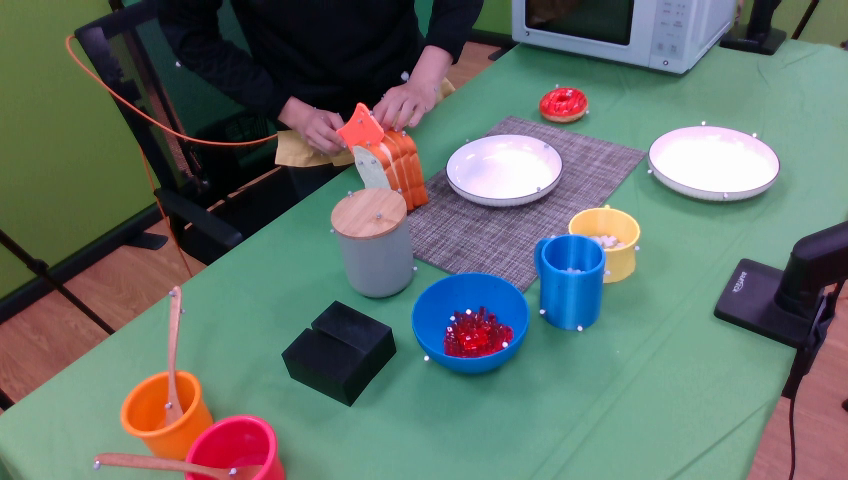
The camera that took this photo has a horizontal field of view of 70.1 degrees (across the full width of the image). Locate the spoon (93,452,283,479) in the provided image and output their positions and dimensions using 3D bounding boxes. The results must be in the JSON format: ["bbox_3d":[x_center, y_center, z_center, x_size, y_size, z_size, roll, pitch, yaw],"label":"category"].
[{"bbox_3d":[-0.240,0.239,0.632,0.195,0.021,0.041,26,33,-32],"label":"spoon"}]

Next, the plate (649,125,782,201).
[{"bbox_3d":[0.493,-0.127,1.036,0.207,0.039,0.206,-4,41,4],"label":"plate"}]

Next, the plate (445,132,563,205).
[{"bbox_3d":[0.142,-0.124,1.076,0.209,0.038,0.208,-4,41,4],"label":"plate"}]

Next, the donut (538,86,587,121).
[{"bbox_3d":[0.283,-0.280,1.239,0.099,0.048,0.098,-5,42,5],"label":"donut"}]

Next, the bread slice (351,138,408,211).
[{"bbox_3d":[-0.081,-0.113,1.028,0.019,0.132,0.104,-40,45,-22],"label":"bread slice"}]

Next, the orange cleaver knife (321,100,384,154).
[{"bbox_3d":[-0.126,-0.180,1.044,0.012,0.077,0.210,-35,10,-28],"label":"orange cleaver knife"}]

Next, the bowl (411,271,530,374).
[{"bbox_3d":[0.061,0.120,0.780,0.151,0.077,0.150,-4,40,4],"label":"bowl"}]

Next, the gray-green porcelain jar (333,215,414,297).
[{"bbox_3d":[-0.071,0.012,0.887,0.106,0.127,0.105,-4,41,4],"label":"gray-green porcelain jar"}]

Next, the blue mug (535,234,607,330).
[{"bbox_3d":[0.191,0.048,0.824,0.082,0.106,0.115,-26,44,-20],"label":"blue mug"}]

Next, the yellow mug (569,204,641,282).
[{"bbox_3d":[0.268,-0.005,0.904,0.099,0.064,0.130,7,41,15],"label":"yellow mug"}]

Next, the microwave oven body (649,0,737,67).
[{"bbox_3d":[0.475,-0.602,1.411,0.438,0.261,0.327,23,50,32],"label":"microwave oven body"}]

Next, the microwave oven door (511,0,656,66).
[{"bbox_3d":[0.351,-0.539,1.349,0.353,0.245,0.039,24,50,31],"label":"microwave oven door"}]

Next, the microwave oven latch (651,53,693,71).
[{"bbox_3d":[0.532,-0.386,1.301,0.078,0.029,0.030,27,52,34],"label":"microwave oven latch"}]

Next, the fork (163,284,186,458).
[{"bbox_3d":[-0.302,0.157,0.733,0.028,0.019,0.207,-4,84,16],"label":"fork"}]

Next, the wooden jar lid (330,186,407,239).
[{"bbox_3d":[-0.077,-0.035,0.846,0.108,0.021,0.108,-5,42,5],"label":"wooden jar lid"}]

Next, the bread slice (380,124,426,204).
[{"bbox_3d":[-0.039,-0.134,1.048,0.018,0.135,0.106,-31,46,-26],"label":"bread slice"}]
